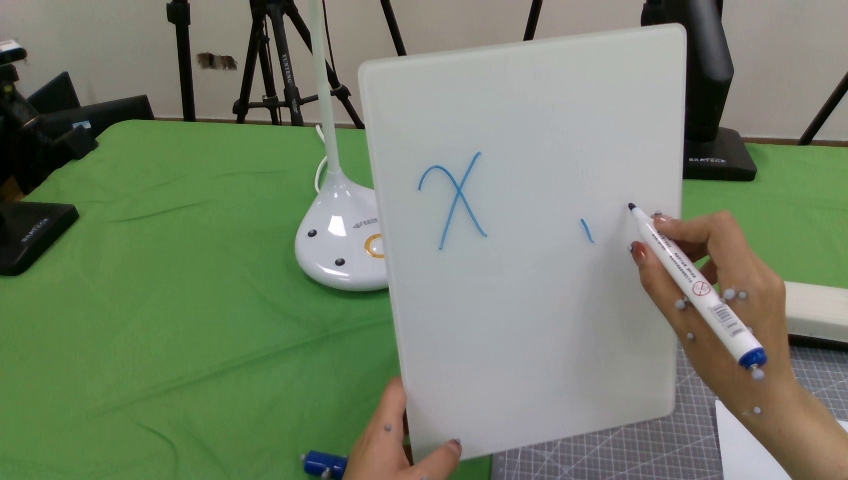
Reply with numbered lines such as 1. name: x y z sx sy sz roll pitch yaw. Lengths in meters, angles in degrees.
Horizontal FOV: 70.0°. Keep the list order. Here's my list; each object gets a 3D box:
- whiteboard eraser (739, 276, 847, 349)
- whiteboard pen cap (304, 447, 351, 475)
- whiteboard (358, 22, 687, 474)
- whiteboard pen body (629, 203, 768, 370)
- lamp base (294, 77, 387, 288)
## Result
1. whiteboard eraser: 0.350 0.067 0.549 0.112 0.042 0.055 8 41 14
2. whiteboard pen cap: -0.074 0.170 0.466 0.033 0.018 0.018 5 39 11
3. whiteboard: 0.072 -0.002 0.490 0.217 0.307 0.143 -9 20 -7
4. whiteboard pen body: 0.163 0.021 0.376 0.017 0.017 0.139 -11 45 -11
5. lamp base: -0.075 -0.068 0.636 0.161 0.182 0.177 -28 42 -28
